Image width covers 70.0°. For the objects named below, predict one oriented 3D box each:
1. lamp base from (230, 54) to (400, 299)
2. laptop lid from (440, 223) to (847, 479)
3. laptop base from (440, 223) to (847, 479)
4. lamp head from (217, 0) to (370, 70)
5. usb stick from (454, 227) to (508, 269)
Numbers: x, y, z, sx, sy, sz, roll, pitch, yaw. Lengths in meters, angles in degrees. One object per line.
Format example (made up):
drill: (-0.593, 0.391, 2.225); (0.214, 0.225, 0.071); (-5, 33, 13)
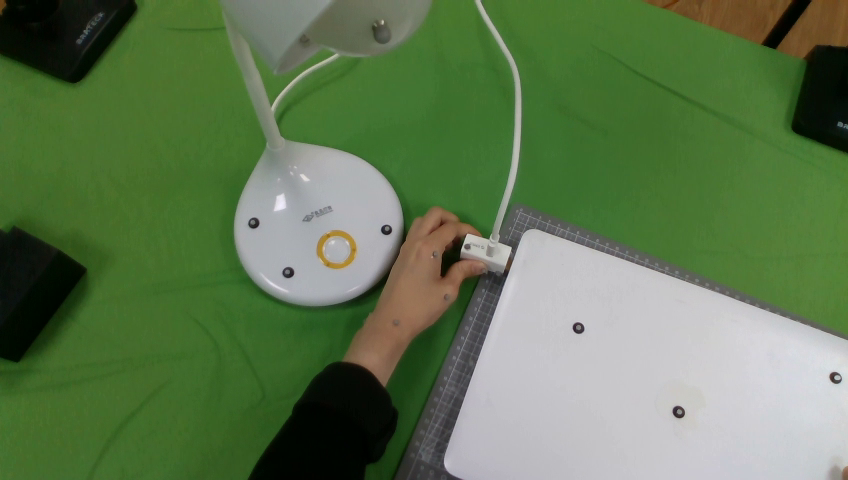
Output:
lamp base: (-0.109, -0.057, 0.511); (0.160, 0.181, 0.178); (-36, 72, -14)
laptop lid: (0.214, 0.143, 0.523); (0.356, 0.013, 0.240); (22, 73, 6)
laptop base: (0.215, 0.145, 0.535); (0.354, 0.023, 0.234); (20, 74, 5)
lamp head: (-0.055, -0.142, 0.222); (0.112, 0.112, 0.123); (-46, 101, -16)
usb stick: (0.059, 0.010, 0.566); (0.059, 0.027, 0.021); (20, 67, 1)
